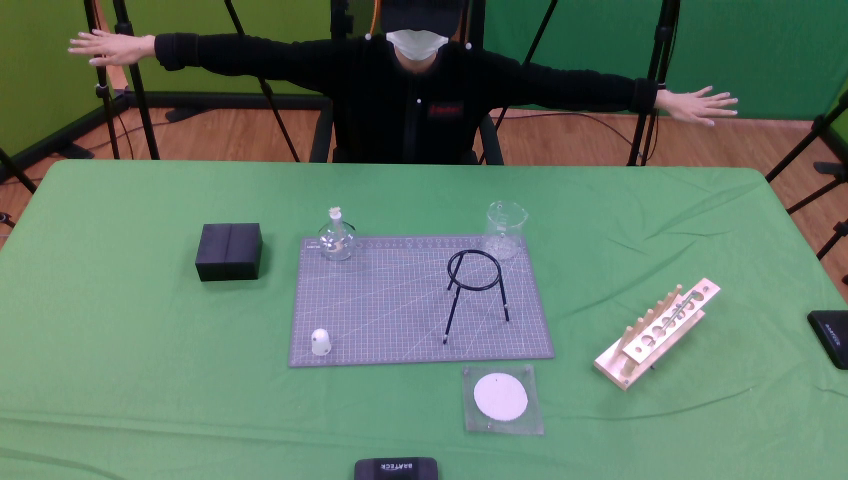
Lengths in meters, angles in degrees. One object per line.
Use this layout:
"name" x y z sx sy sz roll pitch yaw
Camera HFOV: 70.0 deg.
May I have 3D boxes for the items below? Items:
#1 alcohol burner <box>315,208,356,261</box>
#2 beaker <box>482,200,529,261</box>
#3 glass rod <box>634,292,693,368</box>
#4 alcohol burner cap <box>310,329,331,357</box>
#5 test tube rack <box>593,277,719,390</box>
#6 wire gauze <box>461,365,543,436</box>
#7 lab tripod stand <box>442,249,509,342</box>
"alcohol burner" -0.166 -0.017 1.134 0.078 0.119 0.077 2 48 -2
"beaker" 0.153 -0.016 1.169 0.084 0.101 0.073 -2 46 -7
"glass rod" 0.370 0.146 0.950 0.008 0.200 0.008 8 45 -8
"alcohol burner cap" -0.173 0.168 1.004 0.034 0.048 0.033 2 46 -2
"test tube rack" 0.401 0.148 1.043 0.242 0.085 0.066 -30 55 -29
"wire gauze" 0.124 0.254 0.973 0.125 0.011 0.120 3 47 -3
"lab tripod stand" 0.082 0.090 1.036 0.148 0.132 0.147 3 44 -3
